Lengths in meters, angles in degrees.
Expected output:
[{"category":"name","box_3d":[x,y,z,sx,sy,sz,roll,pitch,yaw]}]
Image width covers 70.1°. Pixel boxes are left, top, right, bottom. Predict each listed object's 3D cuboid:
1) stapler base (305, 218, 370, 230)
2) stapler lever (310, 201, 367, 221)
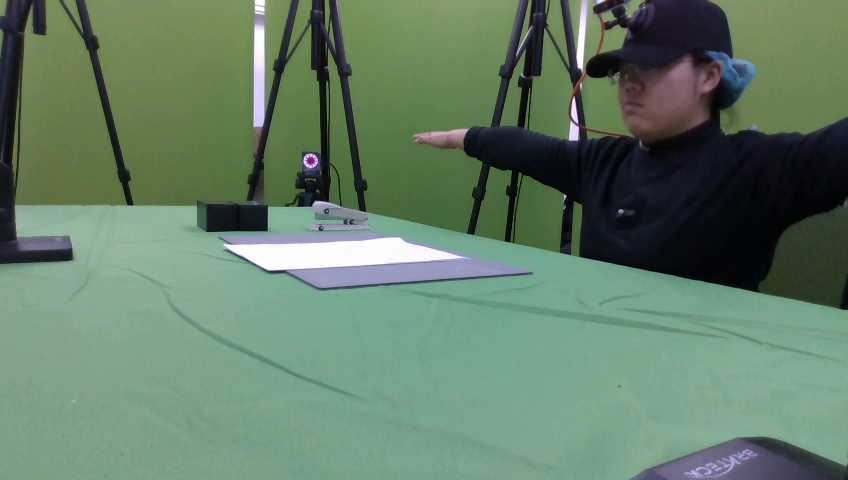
[{"category":"stapler base","box_3d":[-0.173,-0.034,1.215,0.131,0.024,0.041,0,10,-35]},{"category":"stapler lever","box_3d":[-0.171,-0.057,1.213,0.119,0.040,0.026,-1,10,-34]}]
